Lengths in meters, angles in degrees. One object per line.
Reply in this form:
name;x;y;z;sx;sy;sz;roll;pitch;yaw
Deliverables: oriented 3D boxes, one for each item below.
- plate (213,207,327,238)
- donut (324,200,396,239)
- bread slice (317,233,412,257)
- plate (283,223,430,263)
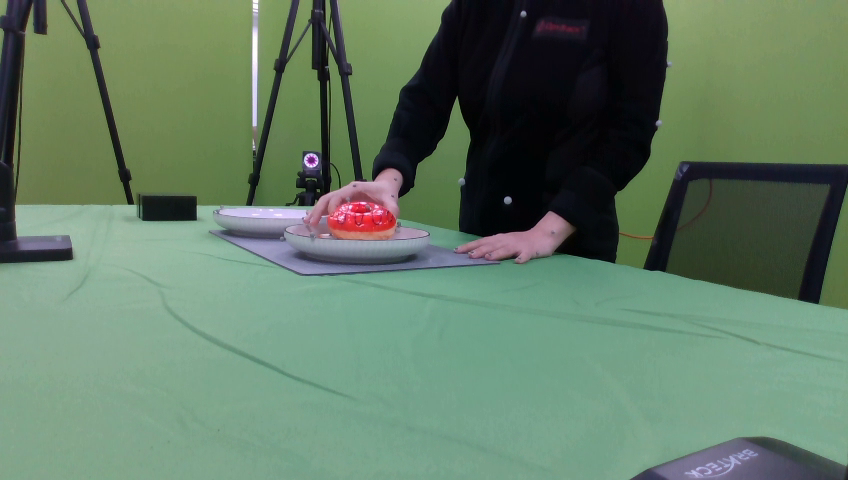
plate;-0.268;-0.032;1.084;0.208;0.039;0.207;2;7;0
donut;-0.089;-0.025;0.842;0.099;0.048;0.099;4;22;-1
bread slice;-0.096;0.005;0.863;0.107;0.018;0.133;0;8;-31
plate;-0.094;0.003;0.868;0.209;0.038;0.209;2;7;0
